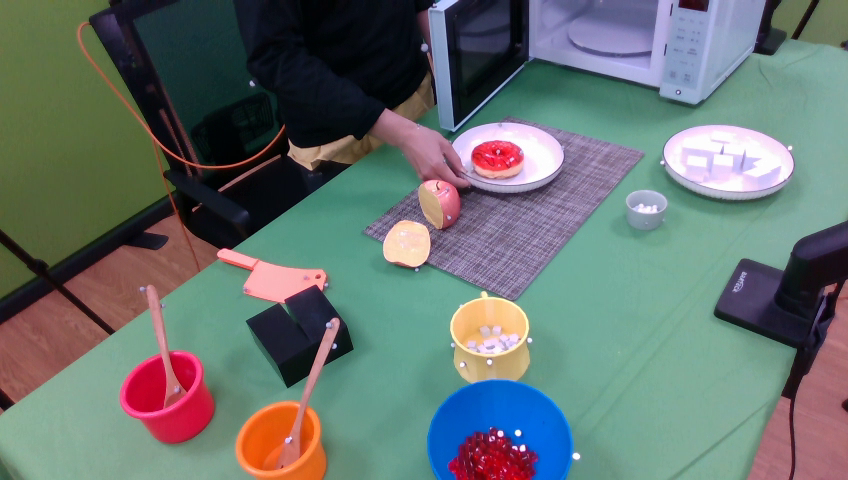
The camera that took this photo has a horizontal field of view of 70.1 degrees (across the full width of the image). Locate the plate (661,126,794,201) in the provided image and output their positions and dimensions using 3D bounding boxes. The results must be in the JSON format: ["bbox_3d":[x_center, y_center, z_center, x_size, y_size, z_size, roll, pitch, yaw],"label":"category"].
[{"bbox_3d":[0.513,-0.128,1.035,0.207,0.039,0.206,-4,40,4],"label":"plate"}]

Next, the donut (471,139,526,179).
[{"bbox_3d":[0.134,-0.147,1.083,0.099,0.048,0.098,-3,41,3],"label":"donut"}]

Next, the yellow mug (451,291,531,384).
[{"bbox_3d":[0.085,0.120,0.786,0.100,0.064,0.130,-7,39,1],"label":"yellow mug"}]

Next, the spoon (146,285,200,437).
[{"bbox_3d":[-0.319,0.148,0.754,0.042,0.021,0.193,-15,85,-11],"label":"spoon"}]

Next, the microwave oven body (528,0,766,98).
[{"bbox_3d":[0.472,-0.513,1.317,0.438,0.261,0.327,25,51,34],"label":"microwave oven body"}]

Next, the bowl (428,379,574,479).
[{"bbox_3d":[0.082,0.233,0.644,0.151,0.077,0.150,-4,39,4],"label":"bowl"}]

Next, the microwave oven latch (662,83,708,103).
[{"bbox_3d":[0.517,-0.296,1.204,0.078,0.029,0.030,27,52,35],"label":"microwave oven latch"}]

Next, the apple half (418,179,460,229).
[{"bbox_3d":[0.032,-0.062,0.998,0.053,0.075,0.080,-23,39,-23],"label":"apple half"}]

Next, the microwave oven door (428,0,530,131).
[{"bbox_3d":[0.126,-0.417,1.249,0.039,0.245,0.356,19,47,28],"label":"microwave oven door"}]

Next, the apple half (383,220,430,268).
[{"bbox_3d":[-0.022,0.009,0.948,0.081,0.033,0.081,-4,73,13],"label":"apple half"}]

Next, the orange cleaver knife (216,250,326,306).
[{"bbox_3d":[-0.248,0.058,0.945,0.210,0.012,0.077,12,49,20],"label":"orange cleaver knife"}]

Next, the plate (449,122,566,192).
[{"bbox_3d":[0.149,-0.146,1.098,0.209,0.038,0.208,-1,41,1],"label":"plate"}]

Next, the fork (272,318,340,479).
[{"bbox_3d":[-0.131,0.186,0.676,0.028,0.019,0.207,17,90,28],"label":"fork"}]

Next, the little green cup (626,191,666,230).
[{"bbox_3d":[0.352,-0.046,0.963,0.061,0.039,0.061,-4,40,4],"label":"little green cup"}]
